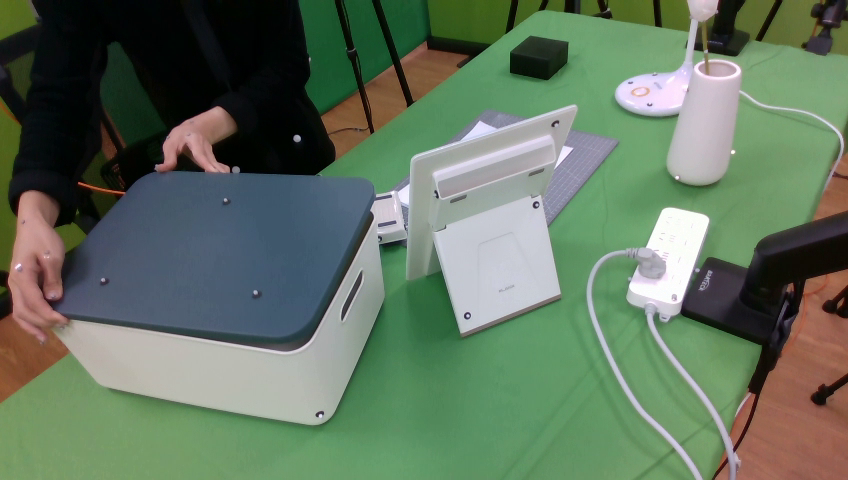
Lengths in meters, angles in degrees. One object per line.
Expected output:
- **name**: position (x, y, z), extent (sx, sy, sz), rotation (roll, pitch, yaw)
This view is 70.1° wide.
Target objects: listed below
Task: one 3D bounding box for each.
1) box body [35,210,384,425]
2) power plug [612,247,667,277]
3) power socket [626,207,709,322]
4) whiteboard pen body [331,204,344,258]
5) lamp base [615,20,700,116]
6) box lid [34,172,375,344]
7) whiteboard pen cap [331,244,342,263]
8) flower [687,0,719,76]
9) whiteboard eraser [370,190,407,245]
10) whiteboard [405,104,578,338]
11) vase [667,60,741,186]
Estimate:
- **box body**: position (-0.255, 0.081, 0.808), extent (0.363, 0.161, 0.253), rotation (6, 42, 14)
- **power plug**: position (0.306, 0.031, 0.852), extent (0.072, 0.053, 0.035), rotation (21, 48, 37)
- **power socket**: position (0.360, 0.026, 0.886), extent (0.072, 0.033, 0.227), rotation (17, 46, 27)
- **whiteboard pen body**: position (-0.146, -0.016, 1.020), extent (0.017, 0.017, 0.140), rotation (-6, 40, 1)
- **lamp base**: position (0.484, -0.364, 1.211), extent (0.180, 0.181, 0.159), rotation (-15, 41, -14)
- **box lid**: position (-0.260, 0.005, 0.743), extent (0.370, 0.015, 0.262), rotation (3, 45, 17)
- **whiteboard pen cap**: position (-0.141, 0.021, 0.975), extent (0.018, 0.018, 0.033), rotation (-8, 38, -1)
- **flower**: position (0.436, -0.241, 0.934), extent (0.038, 0.364, 0.043), rotation (-23, 49, 9)
- **whiteboard eraser**: position (-0.061, -0.035, 1.005), extent (0.056, 0.042, 0.112), rotation (-9, 40, -4)
- **whiteboard**: position (0.102, 0.003, 0.787), extent (0.218, 0.306, 0.143), rotation (-19, 62, -14)
- **vase**: position (0.463, -0.189, 0.994), extent (0.098, 0.201, 0.097), rotation (-4, 40, 3)
